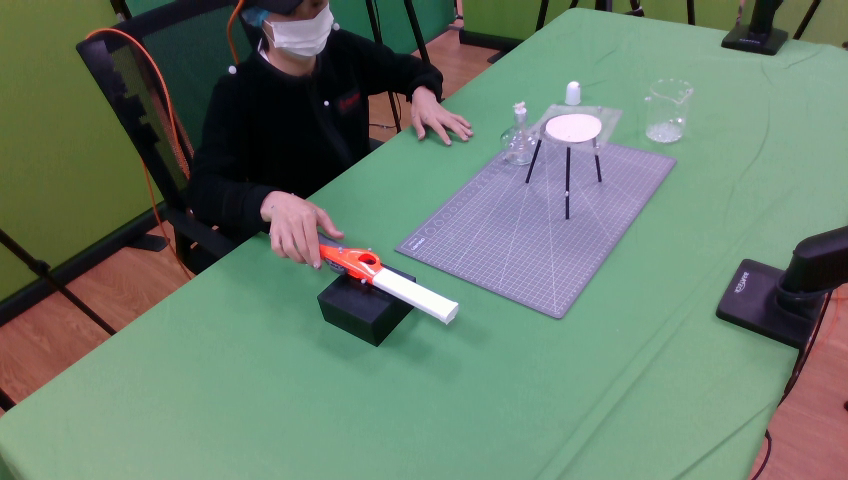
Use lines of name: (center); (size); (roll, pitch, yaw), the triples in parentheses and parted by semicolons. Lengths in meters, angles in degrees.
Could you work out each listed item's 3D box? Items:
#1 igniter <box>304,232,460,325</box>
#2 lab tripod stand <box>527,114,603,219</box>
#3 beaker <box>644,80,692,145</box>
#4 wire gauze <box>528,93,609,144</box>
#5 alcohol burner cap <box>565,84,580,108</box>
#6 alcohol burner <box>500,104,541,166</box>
igniter: (-0.070, 0.048, 0.853); (0.274, 0.025, 0.057); (24, 48, 29)
lab tripod stand: (0.234, -0.129, 1.002); (0.148, 0.132, 0.147); (-6, 40, 6)
beaker: (0.451, -0.233, 1.122); (0.074, 0.101, 0.083); (-8, 40, 1)
wire gauze: (0.225, -0.188, 0.943); (0.121, 0.011, 0.124); (6, 48, 9)
alcohol burner cap: (0.315, -0.307, 1.278); (0.034, 0.048, 0.033); (-4, 42, 5)
alcohol burner: (0.178, -0.196, 1.106); (0.078, 0.119, 0.077); (-5, 42, 5)
